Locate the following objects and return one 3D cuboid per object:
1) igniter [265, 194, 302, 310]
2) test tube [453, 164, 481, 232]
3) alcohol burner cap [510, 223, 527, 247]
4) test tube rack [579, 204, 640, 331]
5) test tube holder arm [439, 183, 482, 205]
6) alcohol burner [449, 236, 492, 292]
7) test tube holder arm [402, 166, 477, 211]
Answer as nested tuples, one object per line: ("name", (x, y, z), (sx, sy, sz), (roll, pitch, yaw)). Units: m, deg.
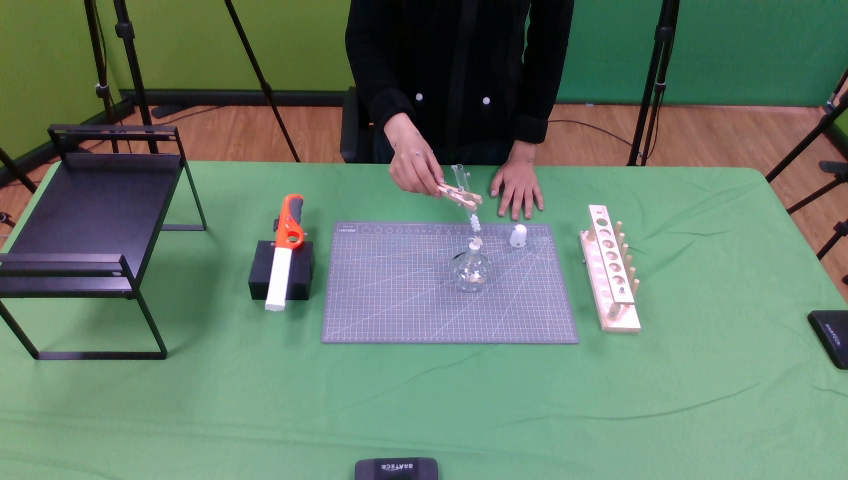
("igniter", (-0.253, 0.012, 1.099), (0.057, 0.025, 0.274), (9, 46, -12))
("test tube", (0.072, -0.065, 0.986), (0.017, 0.151, 0.017), (-10, 47, 11))
("alcohol burner cap", (0.189, -0.011, 1.205), (0.034, 0.048, 0.033), (0, 46, 0))
("test tube rack", (0.353, 0.047, 1.137), (0.067, 0.085, 0.241), (2, 46, -2))
("test tube holder arm", (0.058, -0.077, 0.999), (0.087, 0.015, 0.010), (22, 59, 34))
("alcohol burner", (0.087, 0.038, 1.101), (0.078, 0.119, 0.077), (3, 44, -2))
("test tube holder arm", (0.022, -0.090, 1.024), (0.013, 0.015, 0.177), (-42, 49, -21))
